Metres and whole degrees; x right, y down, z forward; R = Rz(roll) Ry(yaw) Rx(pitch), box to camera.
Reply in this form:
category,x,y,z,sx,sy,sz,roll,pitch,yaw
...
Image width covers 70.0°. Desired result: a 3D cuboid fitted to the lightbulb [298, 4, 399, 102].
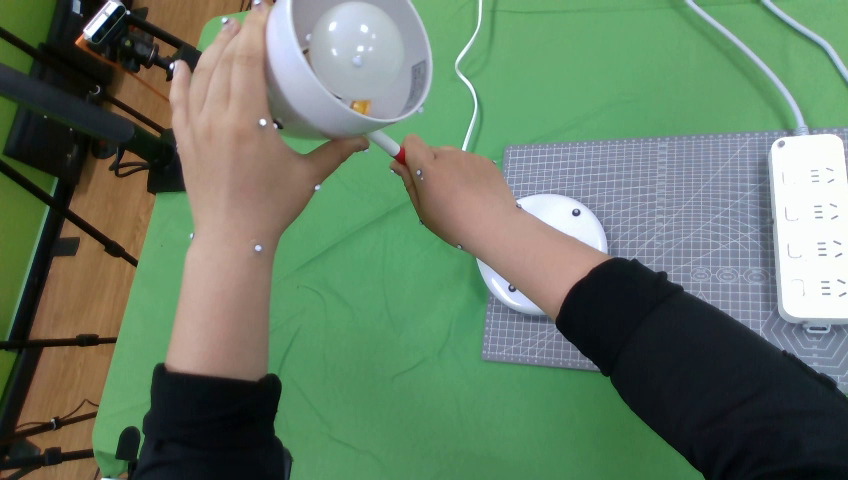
category,x,y,z,sx,sy,sz,roll,pitch,yaw
lightbulb,-0.061,-0.118,0.408,0.107,0.060,0.059,-7,66,49

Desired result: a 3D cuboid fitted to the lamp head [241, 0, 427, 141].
category,x,y,z,sx,sy,sz,roll,pitch,yaw
lamp head,-0.072,-0.117,0.431,0.122,0.113,0.111,-20,59,52

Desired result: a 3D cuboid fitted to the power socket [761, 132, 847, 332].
category,x,y,z,sx,sy,sz,roll,pitch,yaw
power socket,0.412,-0.016,0.655,0.072,0.033,0.225,-1,70,21

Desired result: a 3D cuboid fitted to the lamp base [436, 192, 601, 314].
category,x,y,z,sx,sy,sz,roll,pitch,yaw
lamp base,0.099,-0.009,0.697,0.178,0.182,0.159,-6,68,25
